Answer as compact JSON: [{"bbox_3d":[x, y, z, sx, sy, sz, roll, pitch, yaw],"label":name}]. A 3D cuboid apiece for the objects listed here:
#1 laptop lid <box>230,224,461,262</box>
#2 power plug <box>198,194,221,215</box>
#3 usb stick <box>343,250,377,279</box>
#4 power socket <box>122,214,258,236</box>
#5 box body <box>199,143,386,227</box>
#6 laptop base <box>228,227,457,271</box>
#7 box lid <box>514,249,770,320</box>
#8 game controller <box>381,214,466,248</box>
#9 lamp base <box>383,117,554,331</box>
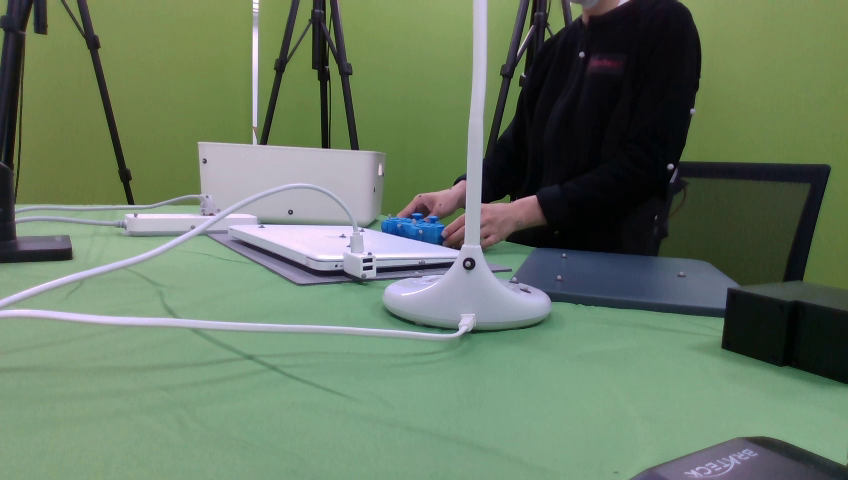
[{"bbox_3d":[-0.120,0.000,0.889,0.243,0.013,0.355,1,7,-33],"label":"laptop lid"},{"bbox_3d":[-0.387,-0.055,1.089,0.035,0.052,0.072,-1,7,-22],"label":"power plug"},{"bbox_3d":[-0.076,0.026,0.687,0.021,0.027,0.059,-8,8,-31],"label":"usb stick"},{"bbox_3d":[-0.398,-0.028,1.049,0.228,0.032,0.072,-3,8,-34],"label":"power socket"},{"bbox_3d":[-0.277,-0.124,1.334,0.364,0.160,0.254,3,7,1],"label":"box body"},{"bbox_3d":[-0.122,0.011,0.889,0.237,0.023,0.352,2,6,-35],"label":"laptop base"},{"bbox_3d":[0.259,0.048,0.781,0.263,0.015,0.372,4,7,14],"label":"box lid"},{"bbox_3d":[-0.006,-0.017,1.039,0.097,0.051,0.154,-5,10,-33],"label":"game controller"},{"bbox_3d":[0.045,-0.019,0.547,0.161,0.180,0.179,2,10,-4],"label":"lamp base"}]
